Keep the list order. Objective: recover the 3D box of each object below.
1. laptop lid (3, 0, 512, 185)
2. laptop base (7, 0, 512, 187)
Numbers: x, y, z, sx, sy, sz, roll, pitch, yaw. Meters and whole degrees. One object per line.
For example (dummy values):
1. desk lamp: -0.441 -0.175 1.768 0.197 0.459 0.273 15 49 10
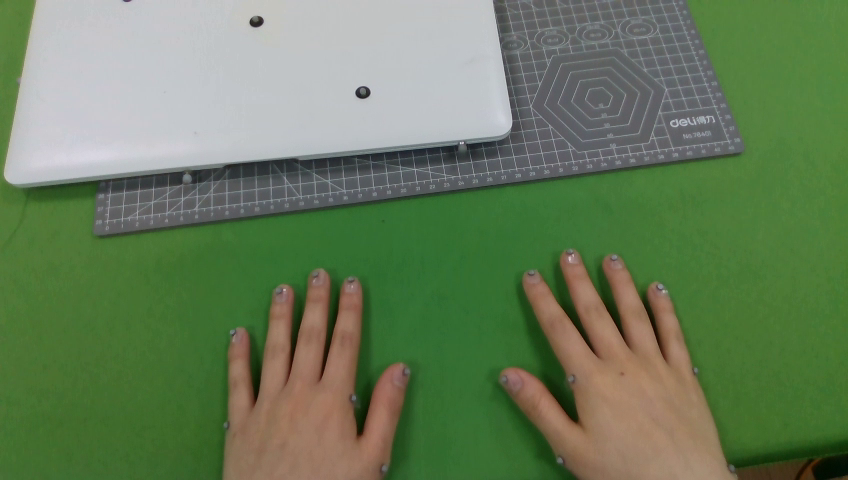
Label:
1. laptop lid: -0.124 -0.161 0.454 0.357 0.013 0.240 -4 68 0
2. laptop base: -0.123 -0.158 0.466 0.354 0.023 0.234 -6 70 -1
